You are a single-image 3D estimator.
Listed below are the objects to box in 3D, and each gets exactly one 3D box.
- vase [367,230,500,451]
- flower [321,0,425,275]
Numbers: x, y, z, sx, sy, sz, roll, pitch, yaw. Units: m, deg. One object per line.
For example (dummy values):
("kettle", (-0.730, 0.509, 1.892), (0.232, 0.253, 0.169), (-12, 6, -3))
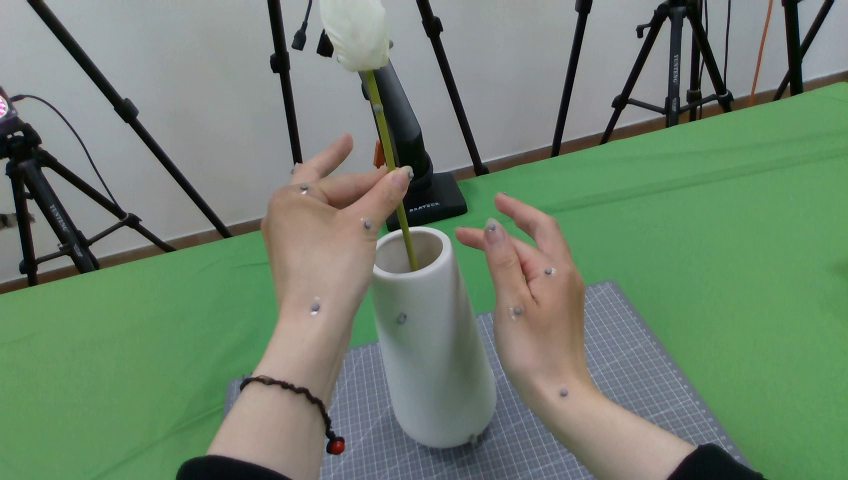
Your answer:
("vase", (0.008, 0.090, 0.526), (0.098, 0.202, 0.097), (-9, 33, 7))
("flower", (-0.009, -0.002, 0.442), (0.038, 0.365, 0.043), (-23, 29, -16))
